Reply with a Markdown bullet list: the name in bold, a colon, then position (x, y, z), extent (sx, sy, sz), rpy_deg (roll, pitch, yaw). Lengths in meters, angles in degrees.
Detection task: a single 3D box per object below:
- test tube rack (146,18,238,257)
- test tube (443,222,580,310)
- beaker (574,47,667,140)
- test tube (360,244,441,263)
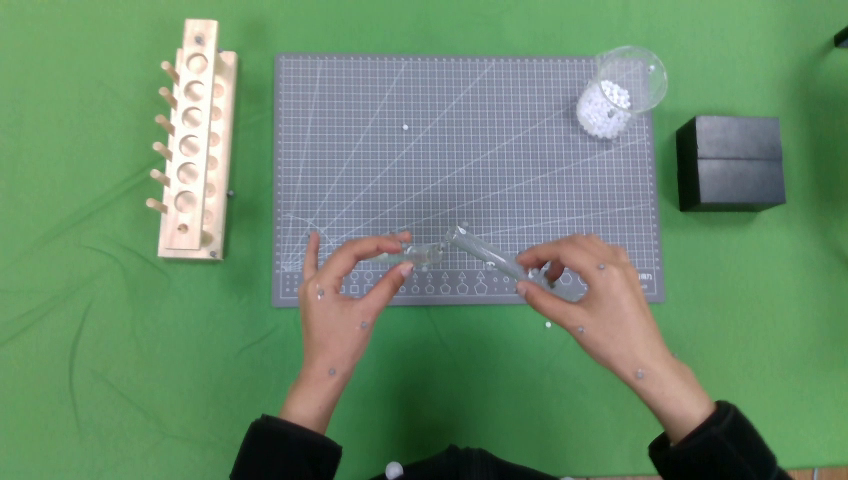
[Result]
- **test tube rack**: position (-0.254, -0.107, 0.656), extent (0.067, 0.085, 0.241), rpy_deg (3, 82, -3)
- **test tube**: position (0.078, 0.025, 0.509), extent (0.152, 0.017, 0.017), rpy_deg (29, 80, -26)
- **beaker**: position (0.213, -0.162, 0.684), extent (0.084, 0.100, 0.074), rpy_deg (37, 81, 4)
- **test tube**: position (-0.026, 0.012, 0.540), extent (0.017, 0.149, 0.017), rpy_deg (0, 89, -27)
